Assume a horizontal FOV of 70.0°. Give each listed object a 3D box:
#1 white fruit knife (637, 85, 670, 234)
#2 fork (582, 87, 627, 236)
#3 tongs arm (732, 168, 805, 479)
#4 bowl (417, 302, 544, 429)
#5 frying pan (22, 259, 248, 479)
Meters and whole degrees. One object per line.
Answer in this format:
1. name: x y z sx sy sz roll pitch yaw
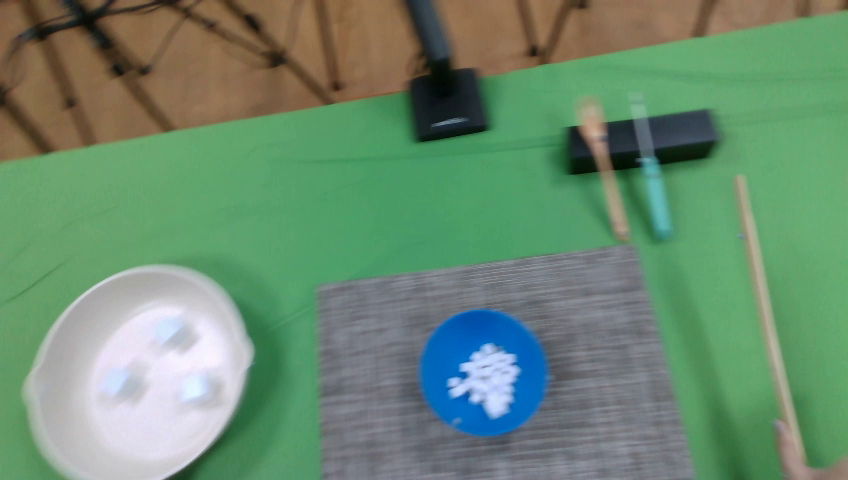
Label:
1. white fruit knife: 0.308 -0.111 0.823 0.016 0.027 0.207 -9 84 10
2. fork: 0.250 -0.107 0.830 0.028 0.018 0.207 -13 88 -2
3. tongs arm: 0.384 0.108 0.660 0.028 0.028 0.386 -8 80 3
4. bowl: 0.071 0.160 0.749 0.151 0.077 0.150 -3 68 7
5. frying pan: -0.363 0.260 0.757 0.307 0.104 0.483 -8 59 5
